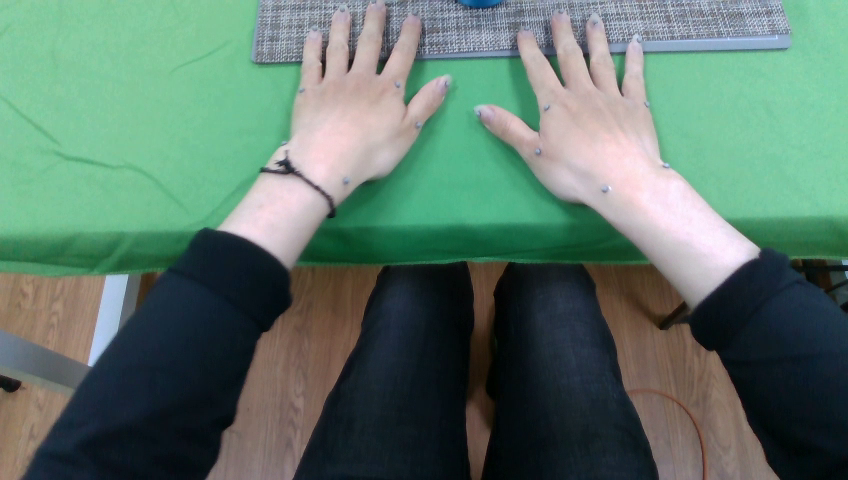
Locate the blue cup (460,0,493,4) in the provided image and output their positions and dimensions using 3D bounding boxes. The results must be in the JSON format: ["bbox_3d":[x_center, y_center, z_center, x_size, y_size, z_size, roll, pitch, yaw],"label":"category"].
[{"bbox_3d":[0.044,-0.250,0.489,0.092,0.101,0.092,-1,68,3],"label":"blue cup"}]
